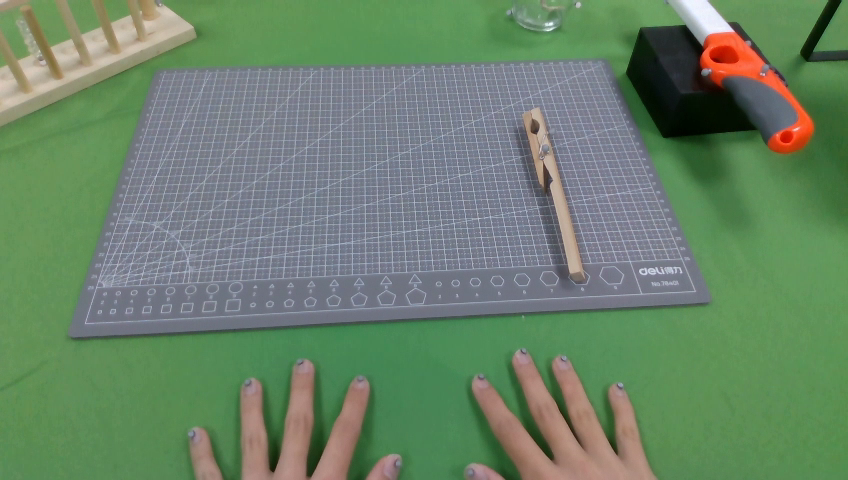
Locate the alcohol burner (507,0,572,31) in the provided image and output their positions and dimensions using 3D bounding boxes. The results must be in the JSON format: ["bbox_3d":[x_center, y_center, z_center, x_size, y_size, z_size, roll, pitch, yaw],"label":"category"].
[{"bbox_3d":[0.124,-0.281,0.627,0.078,0.120,0.077,1,54,0],"label":"alcohol burner"}]

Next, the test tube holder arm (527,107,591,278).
[{"bbox_3d":[0.107,-0.045,0.494,0.013,0.015,0.176,-28,49,23],"label":"test tube holder arm"}]

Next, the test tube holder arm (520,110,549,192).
[{"bbox_3d":[0.098,-0.078,0.523,0.010,0.015,0.087,-27,49,23],"label":"test tube holder arm"}]

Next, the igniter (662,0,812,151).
[{"bbox_3d":[0.263,-0.173,0.540,0.057,0.025,0.273,-7,50,-4],"label":"igniter"}]

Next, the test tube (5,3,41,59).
[{"bbox_3d":[-0.363,-0.224,0.519,0.017,0.151,0.017,2,48,-2],"label":"test tube"}]

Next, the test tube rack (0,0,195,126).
[{"bbox_3d":[-0.344,-0.188,0.555,0.066,0.086,0.242,38,59,25],"label":"test tube rack"}]
